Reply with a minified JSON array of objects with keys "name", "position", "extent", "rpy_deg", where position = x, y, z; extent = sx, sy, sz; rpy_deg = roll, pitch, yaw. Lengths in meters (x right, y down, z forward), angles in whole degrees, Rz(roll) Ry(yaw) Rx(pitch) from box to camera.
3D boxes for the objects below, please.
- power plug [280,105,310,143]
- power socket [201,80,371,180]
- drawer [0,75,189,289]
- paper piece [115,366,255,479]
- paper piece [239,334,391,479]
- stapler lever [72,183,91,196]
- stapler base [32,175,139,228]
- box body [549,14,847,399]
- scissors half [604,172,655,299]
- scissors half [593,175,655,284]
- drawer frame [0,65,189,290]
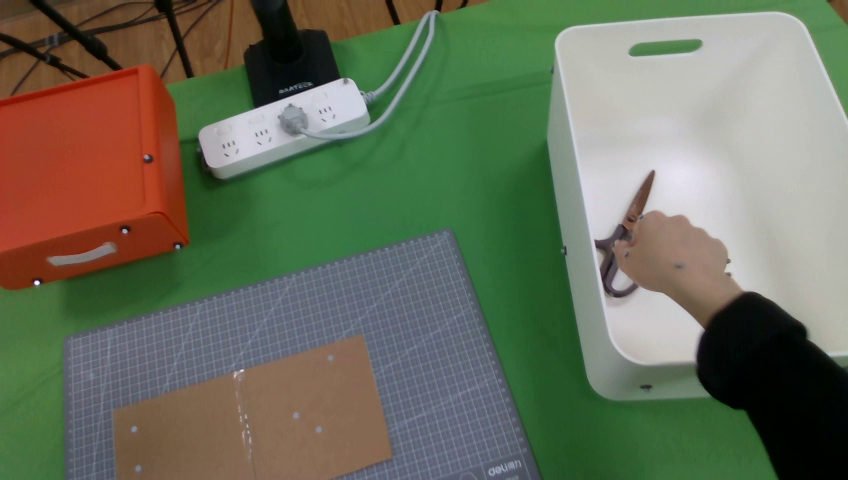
[{"name":"power plug","position":[-0.156,-0.132,0.741],"extent":[0.035,0.053,0.072],"rpy_deg":[-12,62,-3]},{"name":"power socket","position":[-0.174,-0.141,0.773],"extent":[0.227,0.033,0.071],"rpy_deg":[-21,64,-7]},{"name":"drawer","position":[-0.375,-0.070,0.671],"extent":[0.194,0.074,0.209],"rpy_deg":[-15,62,-3]},{"name":"paper piece","position":[-0.240,0.211,0.605],"extent":[0.136,0.009,0.137],"rpy_deg":[-17,64,-2]},{"name":"paper piece","position":[-0.113,0.173,0.615],"extent":[0.135,0.004,0.134],"rpy_deg":[-15,63,-4]},{"name":"stapler lever","position":[-0.393,-0.051,0.654],"extent":[0.117,0.040,0.026],"rpy_deg":[11,80,14]},{"name":"stapler base","position":[-0.386,-0.046,0.679],"extent":[0.130,0.024,0.041],"rpy_deg":[12,80,13]},{"name":"box body","position":[0.272,-0.032,0.612],"extent":[0.254,0.162,0.361],"rpy_deg":[-4,62,2]},{"name":"scissors half","position":[0.239,-0.009,0.680],"extent":[0.040,0.013,0.174],"rpy_deg":[13,61,19]},{"name":"scissors half","position":[0.222,-0.015,0.689],"extent":[0.039,0.013,0.175],"rpy_deg":[28,67,31]},{"name":"drawer frame","position":[-0.377,-0.071,0.672],"extent":[0.202,0.083,0.211],"rpy_deg":[-15,62,-4]}]
